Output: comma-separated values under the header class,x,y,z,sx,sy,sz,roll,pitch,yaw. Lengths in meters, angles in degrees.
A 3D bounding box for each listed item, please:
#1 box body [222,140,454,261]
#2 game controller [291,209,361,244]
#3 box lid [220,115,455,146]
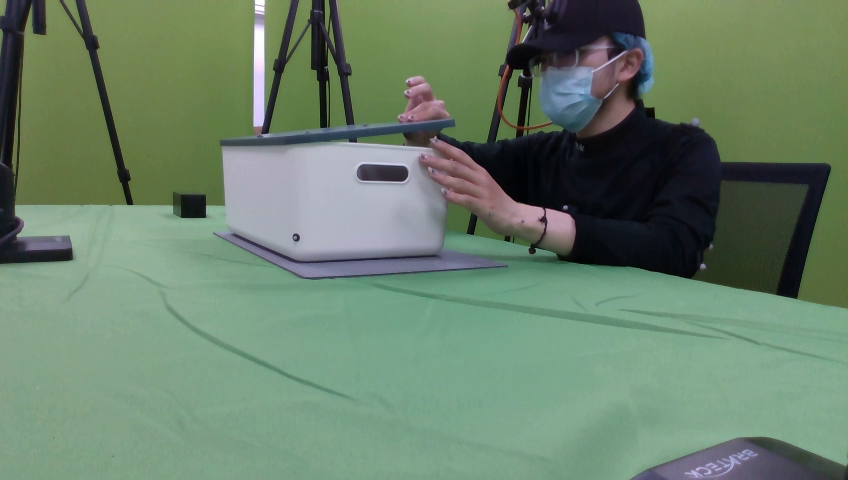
class,x,y,z,sx,sy,sz,roll,pitch,yaw
box body,-0.152,-0.074,0.963,0.255,0.160,0.362,-3,9,-33
game controller,-0.160,-0.023,0.963,0.097,0.051,0.154,-4,6,-16
box lid,-0.149,-0.168,0.947,0.264,0.015,0.369,-14,15,-30
